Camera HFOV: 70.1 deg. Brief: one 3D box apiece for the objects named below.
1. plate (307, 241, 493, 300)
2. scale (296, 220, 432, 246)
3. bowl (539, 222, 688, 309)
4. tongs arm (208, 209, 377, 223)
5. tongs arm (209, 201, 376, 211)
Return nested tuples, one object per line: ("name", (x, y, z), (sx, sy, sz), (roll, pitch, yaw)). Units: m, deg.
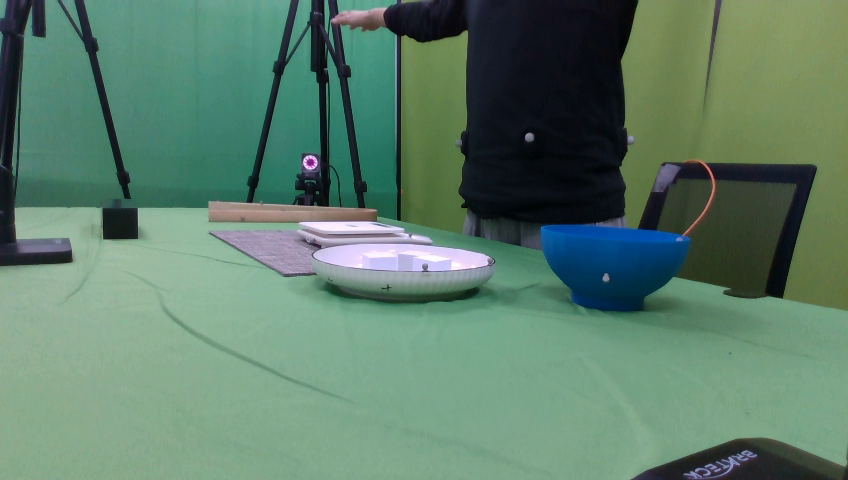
("plate", (-0.027, 0.034, 0.684), (0.208, 0.039, 0.207), (2, 7, 0))
("scale", (-0.101, -0.012, 1.017), (0.202, 0.031, 0.148), (-1, 8, -30))
("bowl", (0.196, 0.027, 0.641), (0.151, 0.077, 0.151), (3, 7, 0))
("tongs arm", (-0.280, -0.054, 1.355), (0.389, 0.028, 0.028), (-2, 7, -28))
("tongs arm", (-0.306, -0.070, 1.430), (0.386, 0.026, 0.050), (1, 9, -15))
